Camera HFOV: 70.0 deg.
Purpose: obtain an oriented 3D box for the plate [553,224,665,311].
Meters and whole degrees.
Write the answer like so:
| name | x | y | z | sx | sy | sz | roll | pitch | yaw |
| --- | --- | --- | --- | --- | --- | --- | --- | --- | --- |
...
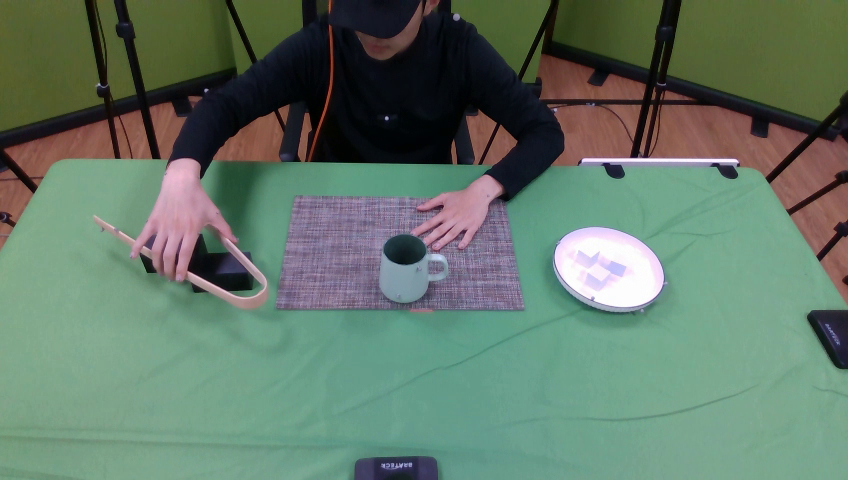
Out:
| name | x | y | z | sx | sy | sz | roll | pitch | yaw |
| --- | --- | --- | --- | --- | --- | --- | --- | --- | --- |
| plate | 0.349 | 0.055 | 1.159 | 0.209 | 0.038 | 0.208 | 2 | 47 | -2 |

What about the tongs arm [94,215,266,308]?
| name | x | y | z | sx | sy | sz | roll | pitch | yaw |
| --- | --- | --- | --- | --- | --- | --- | --- | --- | --- |
| tongs arm | -0.436 | 0.029 | 1.065 | 0.383 | 0.026 | 0.050 | 26 | 45 | 22 |

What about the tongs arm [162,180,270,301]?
| name | x | y | z | sx | sy | sz | roll | pitch | yaw |
| --- | --- | --- | --- | --- | --- | --- | --- | --- | --- |
| tongs arm | -0.388 | -0.011 | 1.112 | 0.028 | 0.028 | 0.385 | -28 | 52 | -37 |

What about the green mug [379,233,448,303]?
| name | x | y | z | sx | sy | sz | roll | pitch | yaw |
| --- | --- | --- | --- | --- | --- | --- | --- | --- | --- |
| green mug | -0.019 | 0.050 | 1.085 | 0.125 | 0.105 | 0.092 | 0 | 46 | -4 |
